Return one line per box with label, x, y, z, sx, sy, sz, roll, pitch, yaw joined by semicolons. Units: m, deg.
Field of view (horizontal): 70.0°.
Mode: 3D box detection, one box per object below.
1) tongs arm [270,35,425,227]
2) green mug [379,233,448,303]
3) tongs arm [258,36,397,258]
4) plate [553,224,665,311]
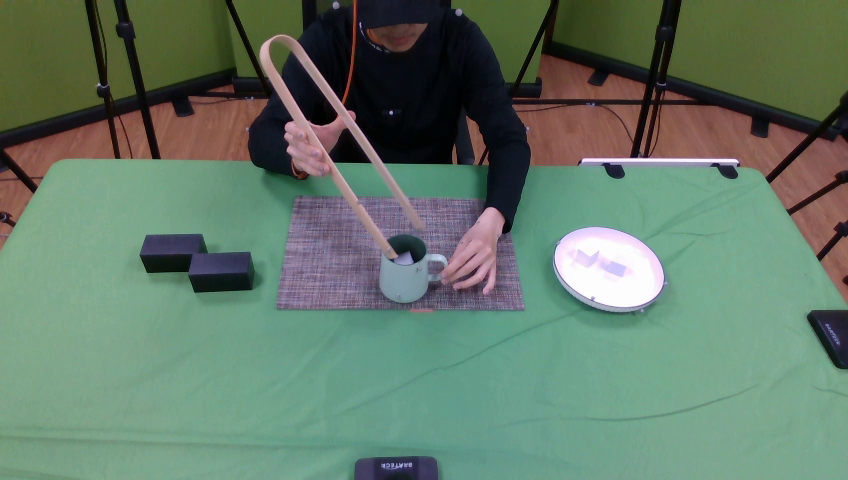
tongs arm;-0.112;-0.163;0.972;0.027;0.389;0.028;3;46;53
green mug;-0.018;0.050;1.084;0.125;0.105;0.092;0;46;-4
tongs arm;-0.140;-0.132;0.947;0.026;0.386;0.050;-1;40;51
plate;0.349;0.055;1.159;0.209;0.038;0.208;2;47;-2
